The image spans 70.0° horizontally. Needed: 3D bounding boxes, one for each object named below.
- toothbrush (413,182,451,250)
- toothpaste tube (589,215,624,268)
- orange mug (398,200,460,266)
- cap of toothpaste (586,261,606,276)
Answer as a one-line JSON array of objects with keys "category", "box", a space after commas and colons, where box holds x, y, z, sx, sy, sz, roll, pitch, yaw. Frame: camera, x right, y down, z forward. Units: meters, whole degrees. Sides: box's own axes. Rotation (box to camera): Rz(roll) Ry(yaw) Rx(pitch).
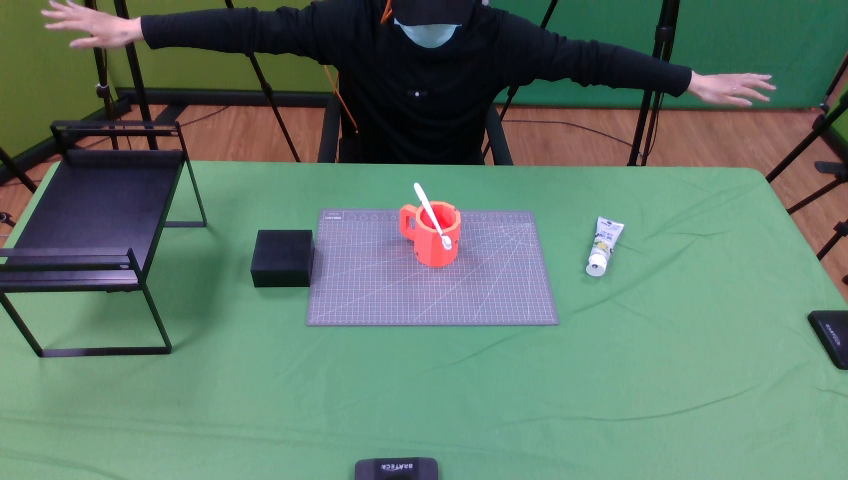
[{"category": "toothbrush", "box": [0.013, -0.050, 1.118, 0.014, 0.017, 0.180, -15, 49, -14]}, {"category": "toothpaste tube", "box": [0.363, 0.005, 1.216, 0.055, 0.034, 0.164, 24, 46, 9]}, {"category": "orange mug", "box": [0.007, -0.020, 1.161, 0.126, 0.101, 0.083, 27, 50, 15]}, {"category": "cap of toothpaste", "box": [0.330, 0.053, 1.160, 0.037, 0.037, 0.011, 12, 48, 7]}]
